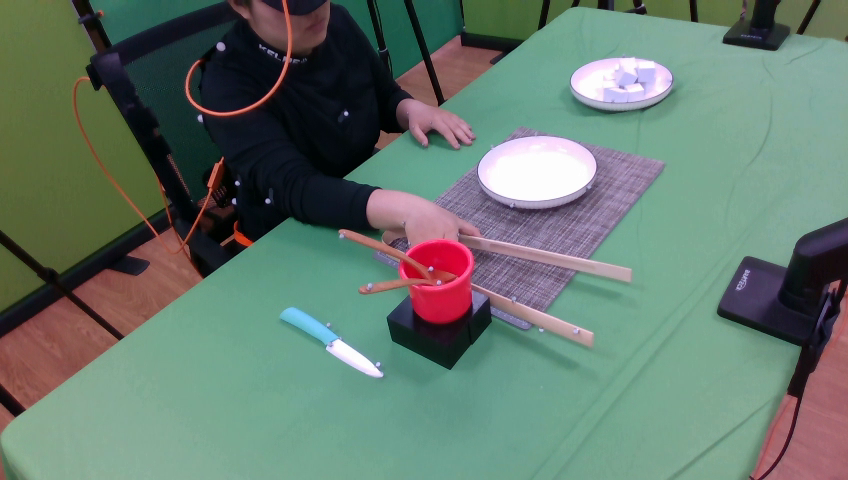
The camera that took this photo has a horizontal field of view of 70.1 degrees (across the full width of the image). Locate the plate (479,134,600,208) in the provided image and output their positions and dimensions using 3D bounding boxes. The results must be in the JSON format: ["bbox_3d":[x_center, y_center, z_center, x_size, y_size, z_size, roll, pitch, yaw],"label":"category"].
[{"bbox_3d":[0.202,-0.117,1.065,0.207,0.039,0.206,-5,40,5],"label":"plate"}]

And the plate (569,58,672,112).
[{"bbox_3d":[0.411,-0.323,1.274,0.209,0.038,0.208,-5,41,5],"label":"plate"}]

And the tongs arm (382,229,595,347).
[{"bbox_3d":[0.077,0.059,0.875,0.381,0.026,0.051,20,48,34],"label":"tongs arm"}]

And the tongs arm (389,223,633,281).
[{"bbox_3d":[0.120,0.017,0.920,0.385,0.028,0.028,11,48,25],"label":"tongs arm"}]

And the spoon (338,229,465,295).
[{"bbox_3d":[-0.025,0.026,0.776,0.021,0.195,0.041,-41,34,32],"label":"spoon"}]

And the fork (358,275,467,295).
[{"bbox_3d":[-0.009,0.056,0.739,0.028,0.018,0.209,48,23,26],"label":"fork"}]

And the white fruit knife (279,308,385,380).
[{"bbox_3d":[-0.130,0.143,0.845,0.205,0.016,0.027,25,80,32],"label":"white fruit knife"}]
